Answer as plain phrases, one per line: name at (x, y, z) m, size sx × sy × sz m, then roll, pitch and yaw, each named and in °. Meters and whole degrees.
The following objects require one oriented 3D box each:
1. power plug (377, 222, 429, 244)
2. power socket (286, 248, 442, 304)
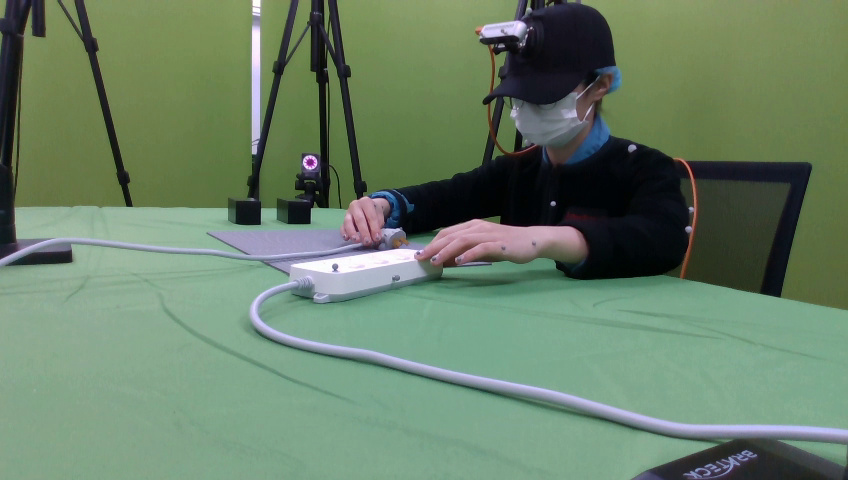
power plug at (-0.036, -0.020, 0.946) m, size 0.053 × 0.072 × 0.035 m, roll 33°, pitch 28°, yaw -45°
power socket at (-0.059, 0.035, 0.688) m, size 0.072 × 0.032 × 0.228 m, roll 6°, pitch 8°, yaw 33°
